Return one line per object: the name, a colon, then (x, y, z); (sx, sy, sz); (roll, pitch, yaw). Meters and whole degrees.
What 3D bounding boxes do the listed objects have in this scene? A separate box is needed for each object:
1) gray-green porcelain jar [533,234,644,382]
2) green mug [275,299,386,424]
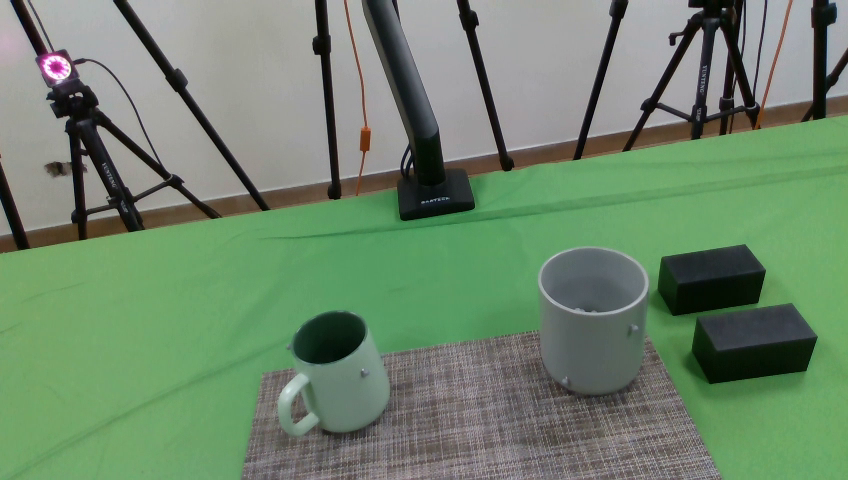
gray-green porcelain jar: (0.168, 0.075, 0.627); (0.106, 0.128, 0.105); (-6, 37, 5)
green mug: (-0.101, 0.136, 0.627); (0.092, 0.106, 0.125); (19, 46, 32)
